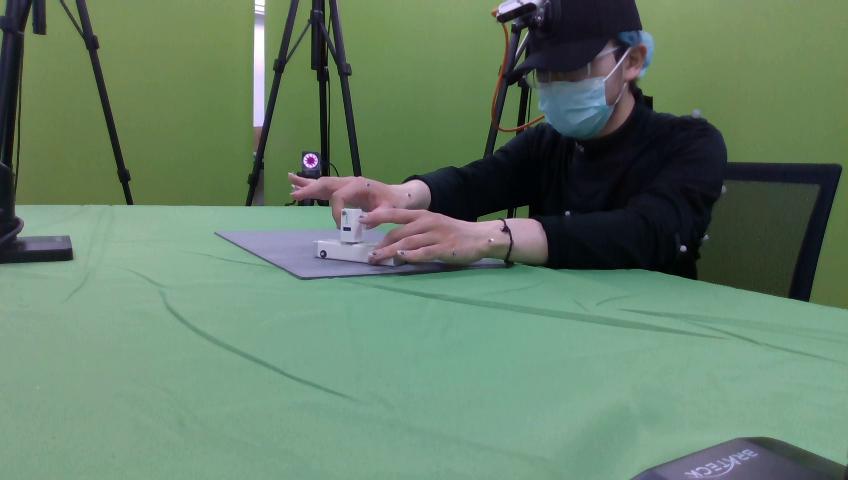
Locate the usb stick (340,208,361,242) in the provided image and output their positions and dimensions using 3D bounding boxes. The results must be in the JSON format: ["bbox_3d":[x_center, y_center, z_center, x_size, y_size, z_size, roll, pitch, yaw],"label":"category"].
[{"bbox_3d":[-0.099,-0.013,0.815,0.021,0.059,0.027,5,12,18],"label":"usb stick"}]

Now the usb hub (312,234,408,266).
[{"bbox_3d":[-0.088,0.013,0.829,0.125,0.025,0.049,6,13,21],"label":"usb hub"}]
